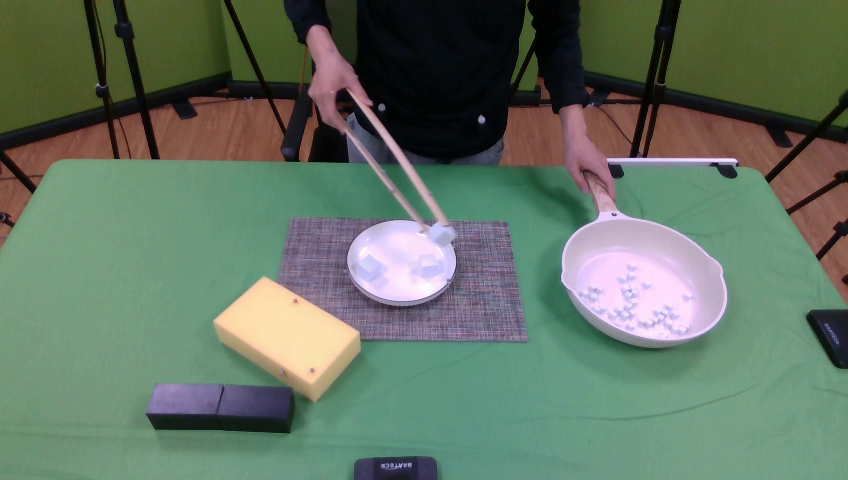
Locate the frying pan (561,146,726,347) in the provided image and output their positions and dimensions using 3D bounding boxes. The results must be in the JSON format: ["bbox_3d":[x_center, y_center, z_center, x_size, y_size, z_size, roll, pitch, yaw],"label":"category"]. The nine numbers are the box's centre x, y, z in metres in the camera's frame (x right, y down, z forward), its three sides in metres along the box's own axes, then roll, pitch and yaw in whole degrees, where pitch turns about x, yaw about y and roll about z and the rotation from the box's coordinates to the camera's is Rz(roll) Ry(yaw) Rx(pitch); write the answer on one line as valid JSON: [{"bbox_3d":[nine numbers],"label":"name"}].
[{"bbox_3d":[0.378,-0.005,1.175,0.307,0.103,0.484,-4,55,-9],"label":"frying pan"}]

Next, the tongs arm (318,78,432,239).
[{"bbox_3d":[-0.091,-0.157,1.122,0.383,0.051,0.026,51,23,20],"label":"tongs arm"}]

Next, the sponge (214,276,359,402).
[{"bbox_3d":[-0.224,0.158,0.998,0.206,0.061,0.118,27,52,19],"label":"sponge"}]

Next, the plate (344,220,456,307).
[{"bbox_3d":[-0.044,0.047,1.133,0.208,0.039,0.206,3,46,-2],"label":"plate"}]

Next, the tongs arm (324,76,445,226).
[{"bbox_3d":[-0.074,-0.172,1.113,0.386,0.028,0.028,55,28,19],"label":"tongs arm"}]
